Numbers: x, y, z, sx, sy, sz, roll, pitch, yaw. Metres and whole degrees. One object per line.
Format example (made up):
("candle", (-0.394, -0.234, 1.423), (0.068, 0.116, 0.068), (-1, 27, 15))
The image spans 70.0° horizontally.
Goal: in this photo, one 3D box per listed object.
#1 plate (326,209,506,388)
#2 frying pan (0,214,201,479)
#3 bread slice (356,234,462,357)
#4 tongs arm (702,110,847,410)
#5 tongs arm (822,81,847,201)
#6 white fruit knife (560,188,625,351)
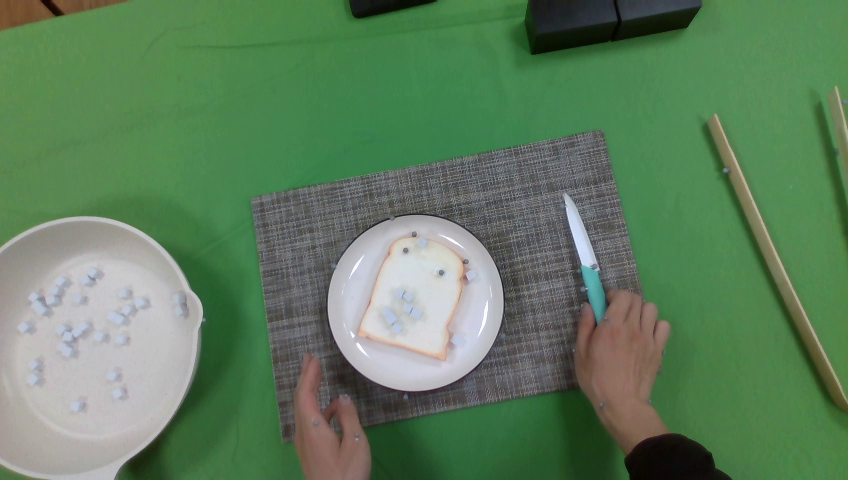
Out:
("plate", (-0.009, 0.067, 0.713), (0.207, 0.039, 0.207), (0, 80, 3))
("frying pan", (-0.372, 0.213, 0.673), (0.307, 0.103, 0.484), (-15, 71, 1))
("bread slice", (-0.014, 0.060, 0.716), (0.107, 0.018, 0.134), (13, 82, 4))
("tongs arm", (0.415, 0.020, 0.710), (0.028, 0.028, 0.386), (-20, 80, -3))
("tongs arm", (0.493, 0.002, 0.706), (0.051, 0.026, 0.383), (-8, 81, 2))
("white fruit knife", (0.194, 0.032, 0.716), (0.027, 0.016, 0.206), (-7, 72, -23))
